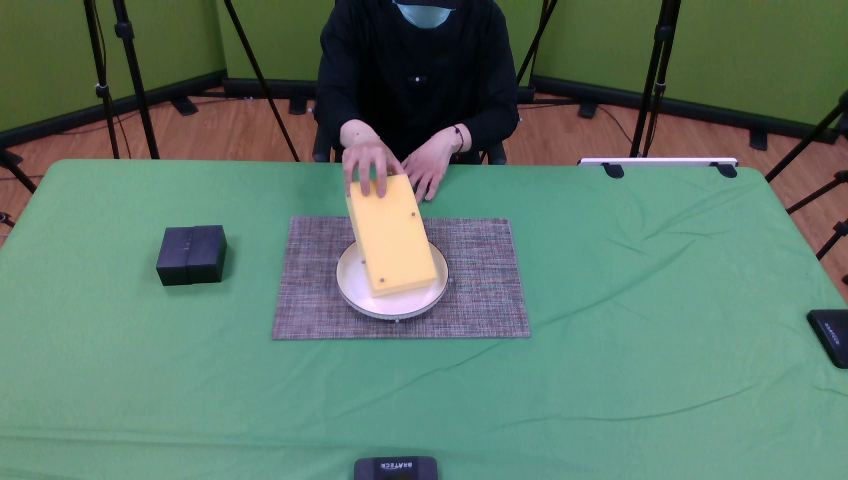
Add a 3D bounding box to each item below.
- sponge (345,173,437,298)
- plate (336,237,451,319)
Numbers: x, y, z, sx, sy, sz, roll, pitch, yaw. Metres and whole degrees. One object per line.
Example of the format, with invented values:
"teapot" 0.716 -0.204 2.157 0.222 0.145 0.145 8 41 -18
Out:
"sponge" -0.062 -0.010 1.099 0.118 0.061 0.206 -13 75 -13
"plate" -0.056 0.065 1.113 0.208 0.039 0.206 2 46 -2
